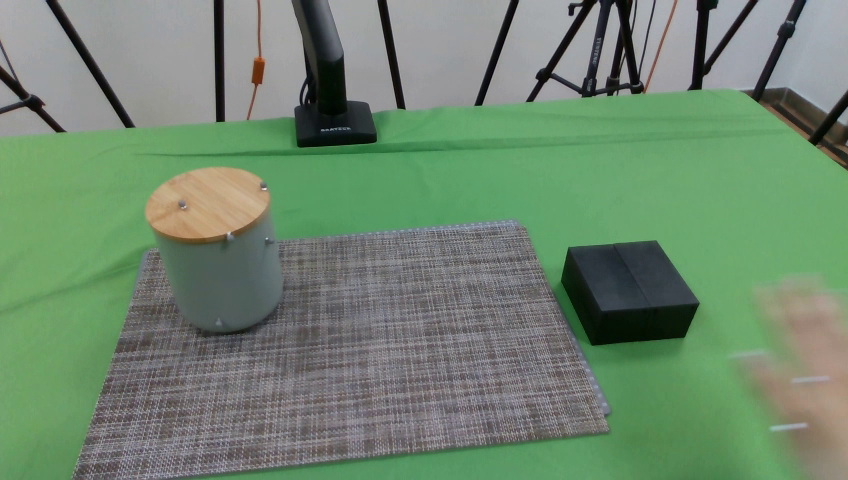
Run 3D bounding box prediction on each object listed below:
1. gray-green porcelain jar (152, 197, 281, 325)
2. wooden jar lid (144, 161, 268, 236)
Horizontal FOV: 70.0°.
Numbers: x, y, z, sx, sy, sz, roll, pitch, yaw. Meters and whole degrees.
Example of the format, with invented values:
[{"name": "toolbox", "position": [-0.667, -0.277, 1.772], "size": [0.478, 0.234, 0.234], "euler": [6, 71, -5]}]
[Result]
[{"name": "gray-green porcelain jar", "position": [-0.200, 0.012, 0.600], "size": [0.106, 0.127, 0.105], "euler": [1, 39, -1]}, {"name": "wooden jar lid", "position": [-0.199, -0.036, 0.560], "size": [0.108, 0.021, 0.107], "euler": [3, 42, -2]}]
